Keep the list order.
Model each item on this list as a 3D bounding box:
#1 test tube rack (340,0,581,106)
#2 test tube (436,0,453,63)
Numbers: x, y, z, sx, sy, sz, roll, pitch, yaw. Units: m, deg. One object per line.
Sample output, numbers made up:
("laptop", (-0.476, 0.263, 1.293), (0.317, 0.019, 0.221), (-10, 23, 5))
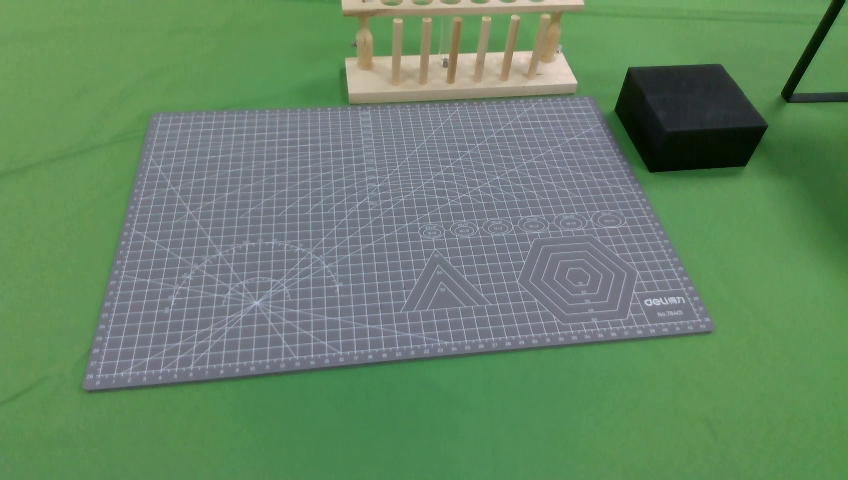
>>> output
("test tube rack", (0.039, -0.199, 0.628), (0.243, 0.086, 0.066), (-4, 49, -8))
("test tube", (0.021, -0.245, 0.601), (0.017, 0.151, 0.017), (1, 46, 0))
